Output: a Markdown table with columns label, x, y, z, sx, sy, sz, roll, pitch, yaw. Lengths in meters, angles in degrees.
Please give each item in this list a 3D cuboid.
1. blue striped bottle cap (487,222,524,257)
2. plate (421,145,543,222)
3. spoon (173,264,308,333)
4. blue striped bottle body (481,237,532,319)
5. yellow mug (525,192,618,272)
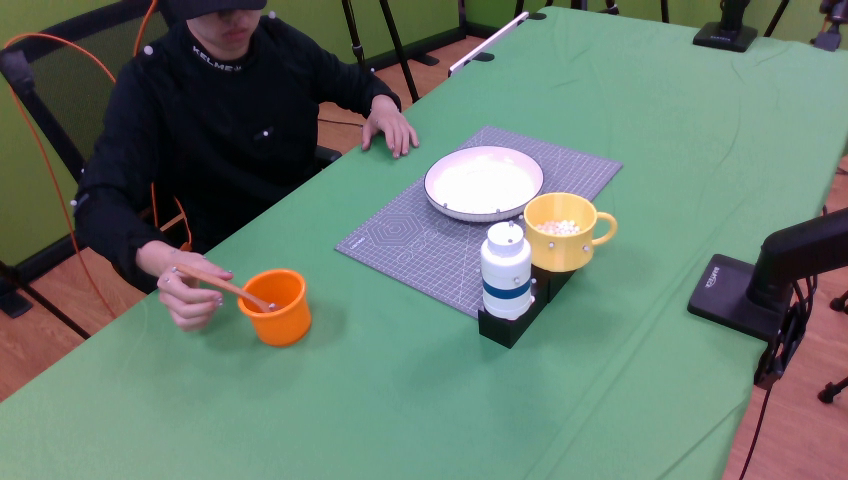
| label | x | y | z | sx | sy | sz | roll | pitch | yaw |
| --- | --- | --- | --- | --- | --- | --- | --- | --- | --- |
| blue striped bottle cap | 0.097 | -0.001 | 0.722 | 0.044 | 0.021 | 0.044 | -2 | 39 | 2 |
| plate | 0.101 | -0.094 | 1.048 | 0.207 | 0.039 | 0.206 | -4 | 41 | 4 |
| spoon | -0.245 | 0.076 | 0.817 | 0.021 | 0.195 | 0.041 | -40 | 28 | 33 |
| blue striped bottle body | 0.104 | 0.037 | 0.756 | 0.063 | 0.121 | 0.063 | -4 | 40 | 4 |
| yellow mug | 0.206 | -0.014 | 0.845 | 0.131 | 0.064 | 0.099 | -4 | 41 | 2 |
